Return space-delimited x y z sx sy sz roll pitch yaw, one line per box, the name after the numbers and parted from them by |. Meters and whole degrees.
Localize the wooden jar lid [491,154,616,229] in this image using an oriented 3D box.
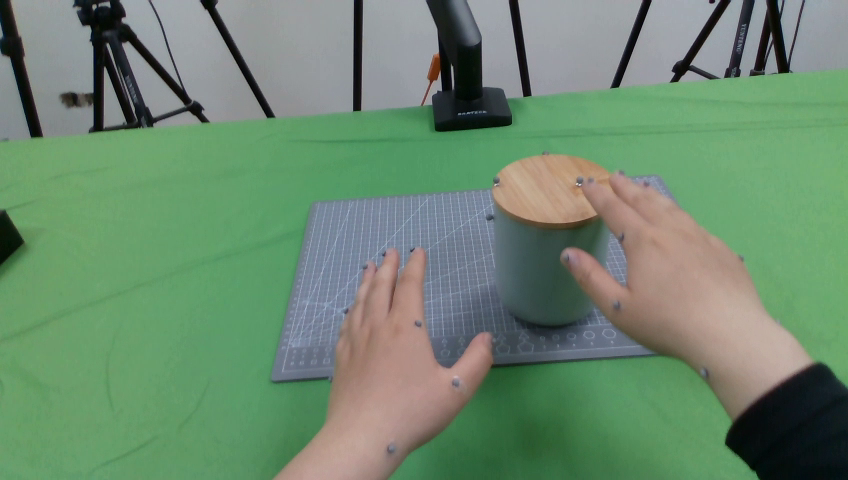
0.113 -0.040 0.536 0.108 0.021 0.107 -4 38 4 | wooden jar lid

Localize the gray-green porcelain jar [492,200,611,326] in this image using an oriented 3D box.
0.118 0.009 0.574 0.106 0.127 0.105 -4 37 3 | gray-green porcelain jar
